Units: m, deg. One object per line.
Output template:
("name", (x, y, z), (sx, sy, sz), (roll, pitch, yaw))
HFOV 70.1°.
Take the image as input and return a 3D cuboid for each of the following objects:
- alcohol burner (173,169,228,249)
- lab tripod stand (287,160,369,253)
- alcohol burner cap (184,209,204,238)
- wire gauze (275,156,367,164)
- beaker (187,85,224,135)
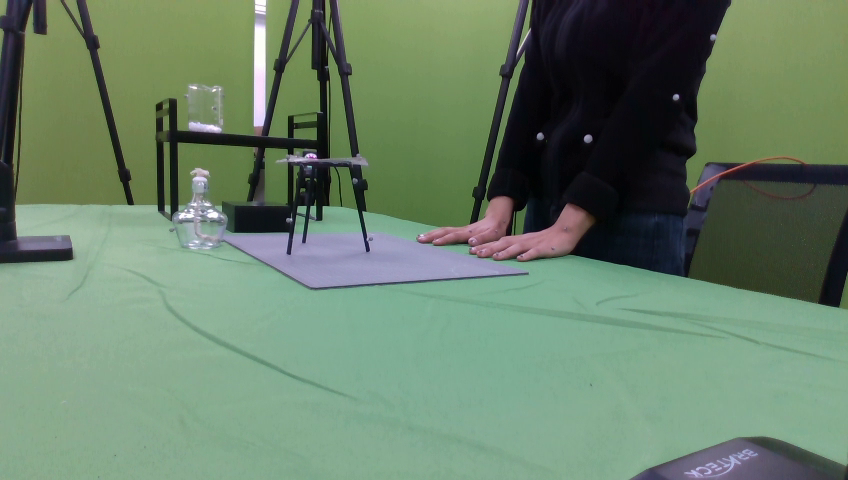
("alcohol burner", (-0.333, -0.047, 0.903), (0.078, 0.119, 0.078), (1, 6, 0))
("lab tripod stand", (-0.157, -0.053, 0.902), (0.148, 0.131, 0.148), (0, 7, 0))
("alcohol burner cap", (-0.389, -0.029, 1.025), (0.034, 0.048, 0.034), (2, 9, 0))
("wire gauze", (-0.148, -0.119, 0.895), (0.121, 0.011, 0.125), (1, 7, -3))
("beaker", (-0.466, -0.276, 1.296), (0.074, 0.100, 0.083), (-3, 10, -35))
